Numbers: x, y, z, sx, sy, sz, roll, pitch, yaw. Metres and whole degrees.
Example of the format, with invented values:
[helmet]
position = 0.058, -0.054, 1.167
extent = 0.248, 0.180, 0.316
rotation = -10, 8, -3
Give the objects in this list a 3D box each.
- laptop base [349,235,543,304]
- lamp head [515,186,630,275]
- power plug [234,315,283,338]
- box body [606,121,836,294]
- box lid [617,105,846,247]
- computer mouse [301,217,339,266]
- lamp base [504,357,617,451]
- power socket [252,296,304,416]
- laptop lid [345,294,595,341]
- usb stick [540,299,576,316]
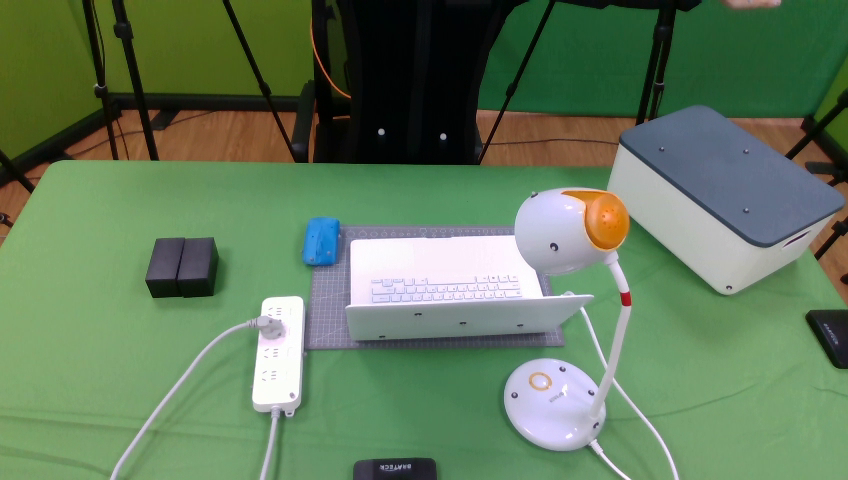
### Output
[laptop base]
position = 0.039, 0.081, 1.124
extent = 0.355, 0.023, 0.234
rotation = -2, 43, -6
[lamp head]
position = 0.188, -0.013, 0.728
extent = 0.112, 0.112, 0.122
rotation = -25, 9, -25
[power plug]
position = -0.269, 0.143, 1.000
extent = 0.072, 0.053, 0.035
rotation = 4, 47, 3
[box body]
position = 0.584, -0.088, 1.230
extent = 0.254, 0.161, 0.361
rotation = -22, 51, -23
[box lid]
position = 0.587, -0.138, 1.175
extent = 0.263, 0.015, 0.369
rotation = -22, 50, -22
[computer mouse]
position = -0.200, -0.002, 1.170
extent = 0.063, 0.041, 0.116
rotation = 3, 50, -3
[lamp base]
position = 0.220, 0.211, 0.902
extent = 0.160, 0.181, 0.178
rotation = -32, 59, -30
[power socket]
position = -0.238, 0.181, 0.997
extent = 0.072, 0.033, 0.225
rotation = -3, 47, -5
[laptop lid]
position = 0.059, 0.124, 0.934
extent = 0.357, 0.242, 0.013
rotation = -1, 69, -7
[usb stick]
position = 0.239, 0.121, 1.083
extent = 0.059, 0.027, 0.021
rotation = -1, 51, -2
